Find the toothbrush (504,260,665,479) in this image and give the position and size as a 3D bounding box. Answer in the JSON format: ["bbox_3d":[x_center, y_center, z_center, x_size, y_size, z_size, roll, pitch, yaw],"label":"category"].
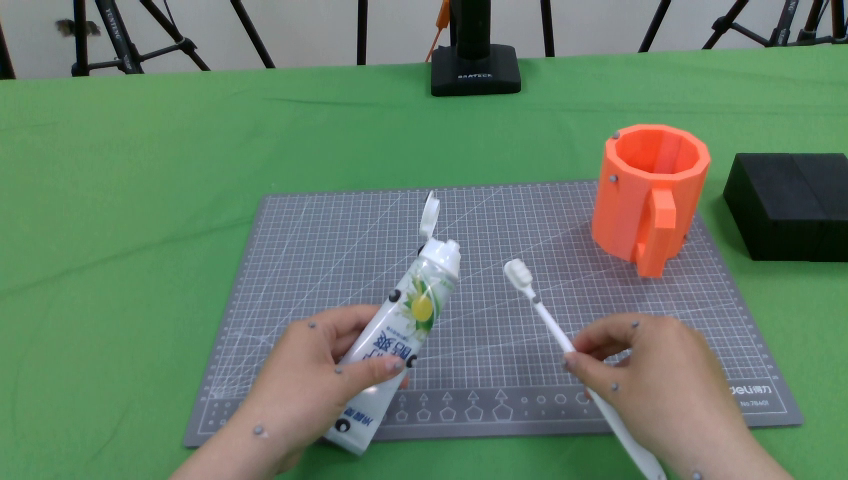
[{"bbox_3d":[0.111,0.090,0.419,0.014,0.017,0.181,-28,78,-25],"label":"toothbrush"}]

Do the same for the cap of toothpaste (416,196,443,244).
[{"bbox_3d":[0.005,-0.015,0.450,0.011,0.037,0.037,17,46,13],"label":"cap of toothpaste"}]

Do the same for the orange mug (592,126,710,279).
[{"bbox_3d":[0.200,-0.030,0.539,0.083,0.102,0.125,3,39,8],"label":"orange mug"}]

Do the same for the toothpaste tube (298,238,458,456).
[{"bbox_3d":[-0.024,0.069,0.432,0.055,0.034,0.165,32,81,-8],"label":"toothpaste tube"}]
